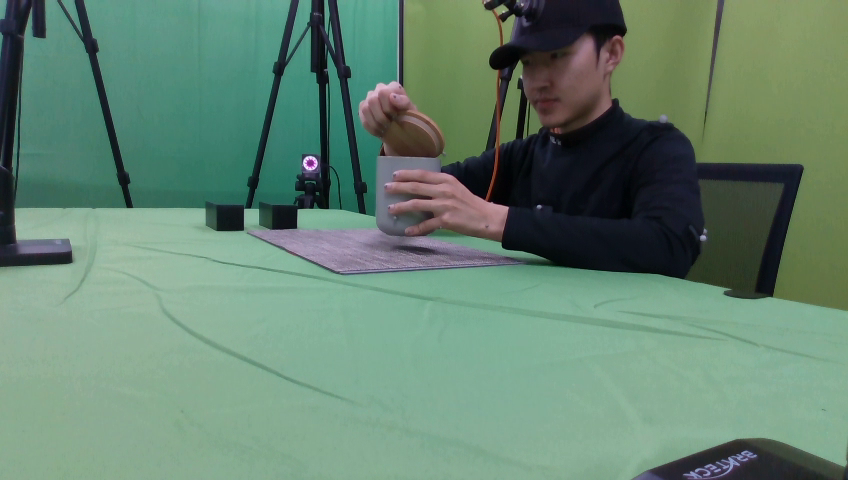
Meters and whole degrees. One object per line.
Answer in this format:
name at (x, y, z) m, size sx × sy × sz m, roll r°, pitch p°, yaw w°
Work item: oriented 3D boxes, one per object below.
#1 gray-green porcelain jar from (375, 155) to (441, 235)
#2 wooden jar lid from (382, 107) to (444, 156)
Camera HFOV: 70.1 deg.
gray-green porcelain jar at (-0.026, -0.074, 0.982) m, size 0.106 × 0.126 × 0.106 m, roll 1°, pitch 7°, yaw 0°
wooden jar lid at (-0.020, -0.169, 0.982) m, size 0.108 × 0.021 × 0.108 m, roll 18°, pitch -32°, yaw 12°
